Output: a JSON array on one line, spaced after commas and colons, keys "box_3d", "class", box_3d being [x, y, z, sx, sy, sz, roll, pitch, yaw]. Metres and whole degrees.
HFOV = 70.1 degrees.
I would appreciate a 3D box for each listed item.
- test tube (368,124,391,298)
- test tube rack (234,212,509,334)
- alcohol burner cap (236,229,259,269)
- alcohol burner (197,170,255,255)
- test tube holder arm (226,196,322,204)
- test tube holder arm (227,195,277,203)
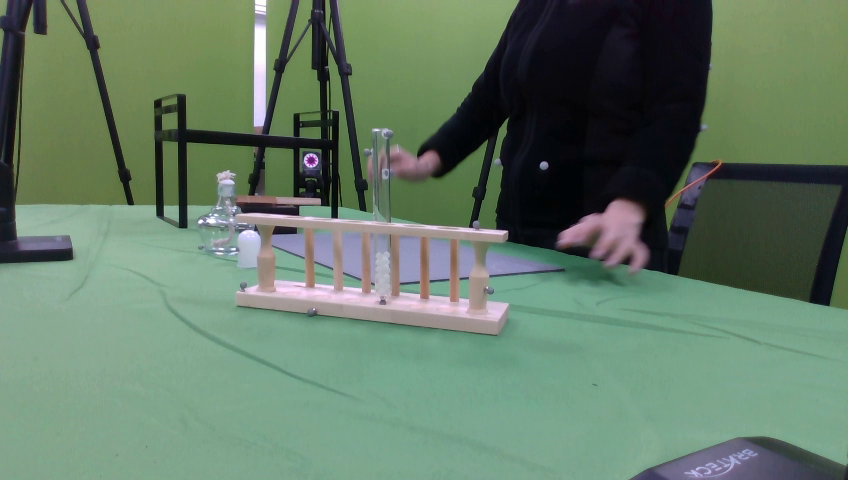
[{"box_3d": [-0.038, -0.023, 0.519, 0.017, 0.150, 0.017, -1, 12, 0], "class": "test tube"}, {"box_3d": [-0.046, 0.023, 0.547, 0.242, 0.085, 0.067, 4, 8, 15], "class": "test tube rack"}, {"box_3d": [-0.220, 0.010, 0.759, 0.034, 0.048, 0.034, 0, 12, 0], "class": "alcohol burner cap"}, {"box_3d": [-0.280, -0.039, 0.856, 0.078, 0.119, 0.078, 2, 9, 0], "class": "alcohol burner"}, {"box_3d": [-0.274, -0.074, 1.118, 0.179, 0.015, 0.013, -2, -7, -34], "class": "test tube holder arm"}, {"box_3d": [-0.308, -0.074, 1.088, 0.088, 0.015, 0.010, -2, -7, -34], "class": "test tube holder arm"}]
